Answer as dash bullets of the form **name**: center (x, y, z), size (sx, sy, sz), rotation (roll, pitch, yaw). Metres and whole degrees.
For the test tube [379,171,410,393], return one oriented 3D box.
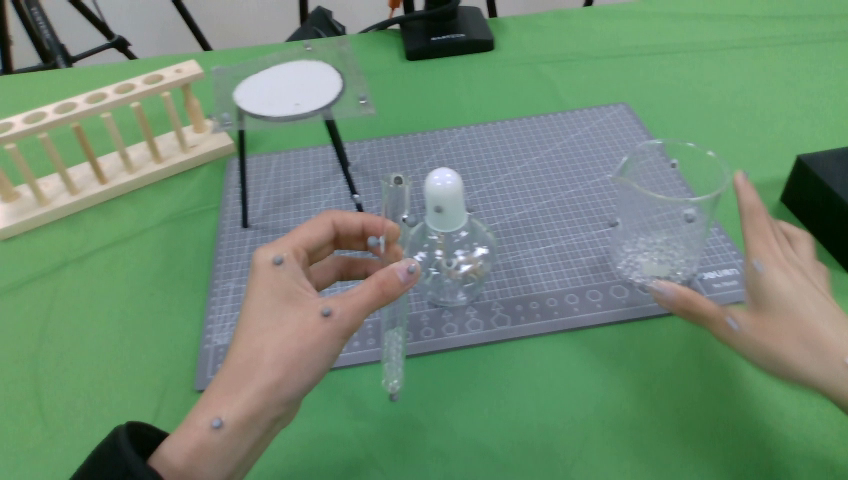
- **test tube**: center (-0.018, 0.031, 0.349), size (0.017, 0.151, 0.017), rotation (2, 31, -1)

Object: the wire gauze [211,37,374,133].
- **wire gauze**: center (-0.112, -0.127, 0.494), size (0.125, 0.011, 0.120), rotation (-13, 44, -7)

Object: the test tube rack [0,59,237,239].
- **test tube rack**: center (-0.329, -0.098, 0.620), size (0.242, 0.086, 0.066), rotation (-26, 47, -20)

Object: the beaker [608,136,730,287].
- **beaker**: center (0.183, -0.019, 0.476), size (0.084, 0.101, 0.073), rotation (-1, 44, 6)

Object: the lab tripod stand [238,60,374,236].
- **lab tripod stand**: center (-0.107, -0.079, 0.541), size (0.148, 0.133, 0.147), rotation (-3, 46, 3)

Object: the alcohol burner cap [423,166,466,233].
- **alcohol burner cap**: center (0.014, -0.033, 0.444), size (0.034, 0.048, 0.033), rotation (-4, 46, 4)

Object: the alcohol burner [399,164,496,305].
- **alcohol burner**: center (0.018, -0.007, 0.469), size (0.078, 0.120, 0.077), rotation (-2, 42, 3)
